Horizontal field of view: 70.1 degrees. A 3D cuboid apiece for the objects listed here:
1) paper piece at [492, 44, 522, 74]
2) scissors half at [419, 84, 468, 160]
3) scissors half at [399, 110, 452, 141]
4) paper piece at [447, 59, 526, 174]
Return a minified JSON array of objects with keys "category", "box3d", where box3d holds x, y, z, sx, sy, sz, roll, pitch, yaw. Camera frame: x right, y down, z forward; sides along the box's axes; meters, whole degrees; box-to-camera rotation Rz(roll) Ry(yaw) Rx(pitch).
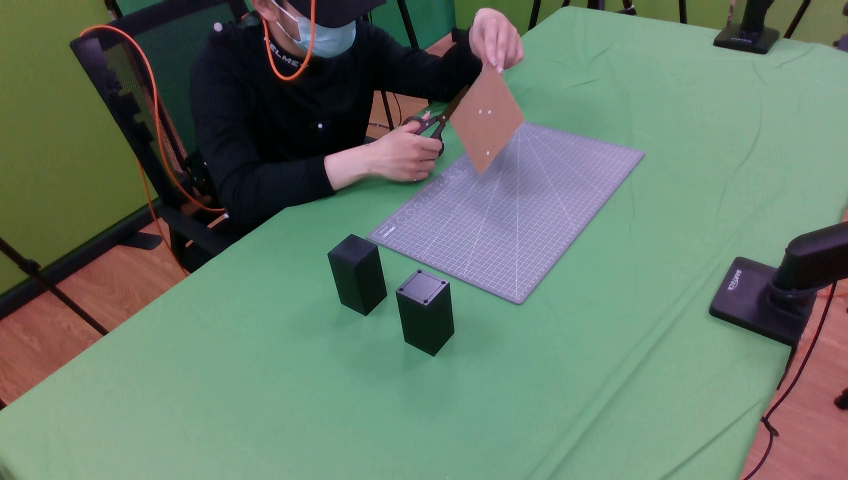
[{"category":"paper piece","box3d":[0.111,-0.287,1.083,0.008,0.135,0.138,47,42,2]},{"category":"scissors half","box3d":[0.037,-0.207,1.076,0.040,0.175,0.013,33,42,3]},{"category":"scissors half","box3d":[0.021,-0.223,1.073,0.174,0.040,0.013,-20,26,36]},{"category":"paper piece","box3d":[0.098,-0.202,0.994,0.004,0.135,0.135,-1,56,-39]}]
